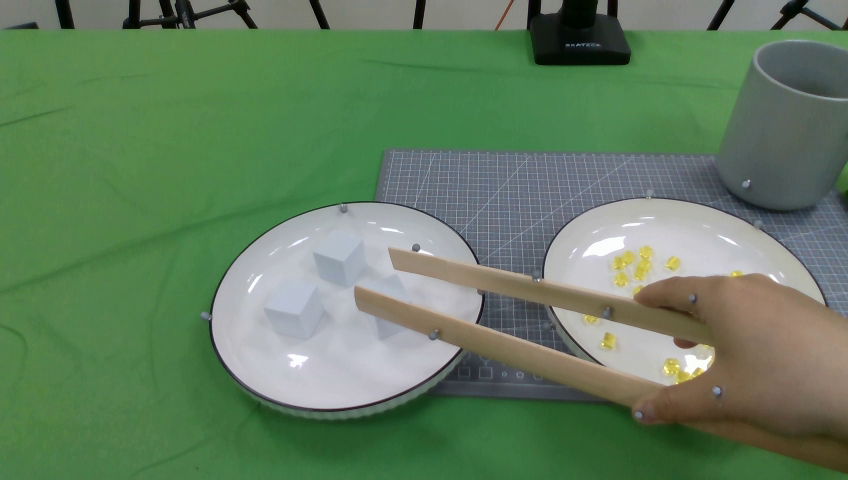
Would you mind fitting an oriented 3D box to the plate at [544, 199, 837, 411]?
[{"bbox_3d":[0.196,0.049,0.468,0.208,0.039,0.205,-1,44,1],"label":"plate"}]

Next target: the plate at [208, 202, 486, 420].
[{"bbox_3d":[-0.057,0.051,0.474,0.209,0.038,0.207,-2,44,2],"label":"plate"}]

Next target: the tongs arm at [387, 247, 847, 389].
[{"bbox_3d":[0.138,0.063,0.377,0.383,0.027,0.050,12,41,22],"label":"tongs arm"}]

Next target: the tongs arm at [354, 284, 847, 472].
[{"bbox_3d":[0.123,0.080,0.357,0.385,0.028,0.028,13,38,24],"label":"tongs arm"}]

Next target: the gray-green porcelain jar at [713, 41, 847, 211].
[{"bbox_3d":[0.331,-0.098,0.550,0.106,0.127,0.105,-1,44,1],"label":"gray-green porcelain jar"}]
